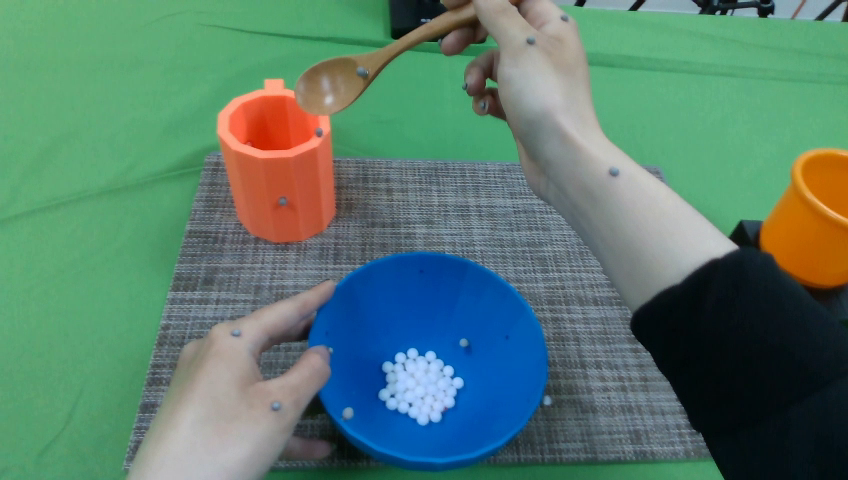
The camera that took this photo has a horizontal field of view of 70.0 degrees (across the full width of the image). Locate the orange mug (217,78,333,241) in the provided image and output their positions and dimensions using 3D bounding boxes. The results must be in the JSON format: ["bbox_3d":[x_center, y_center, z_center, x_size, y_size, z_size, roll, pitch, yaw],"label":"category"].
[{"bbox_3d":[-0.124,-0.077,0.517,0.084,0.101,0.125,-5,55,-10],"label":"orange mug"}]

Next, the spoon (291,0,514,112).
[{"bbox_3d":[-0.009,-0.131,0.397,0.022,0.193,0.041,-15,88,-62],"label":"spoon"}]

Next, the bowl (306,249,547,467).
[{"bbox_3d":[0.000,0.088,0.405,0.151,0.077,0.150,4,49,-4],"label":"bowl"}]
